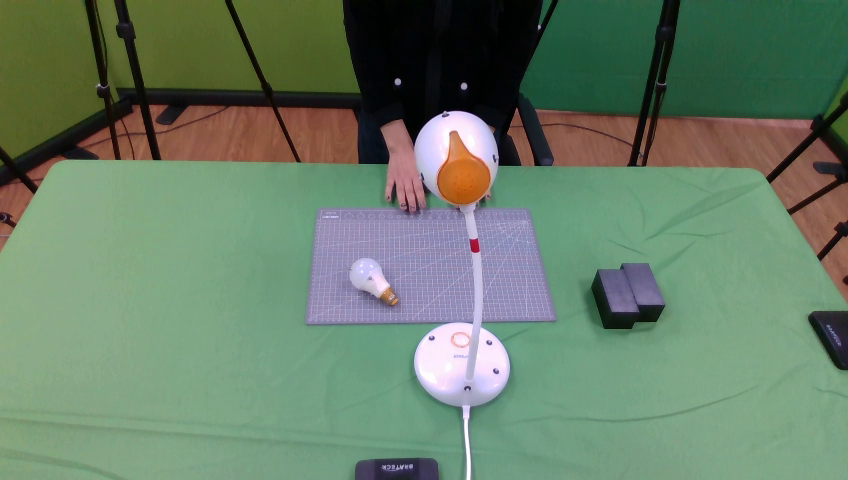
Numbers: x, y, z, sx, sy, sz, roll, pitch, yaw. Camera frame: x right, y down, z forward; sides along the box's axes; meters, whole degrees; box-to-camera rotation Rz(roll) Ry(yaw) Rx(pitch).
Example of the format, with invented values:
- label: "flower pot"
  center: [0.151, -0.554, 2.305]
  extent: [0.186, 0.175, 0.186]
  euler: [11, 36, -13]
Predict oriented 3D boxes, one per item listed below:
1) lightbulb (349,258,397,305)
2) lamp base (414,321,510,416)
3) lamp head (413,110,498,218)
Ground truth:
- label: "lightbulb"
  center: [-0.090, 0.078, 1.095]
  extent: [0.107, 0.060, 0.059]
  euler: [43, 56, 12]
- label: "lamp base"
  center: [0.069, 0.159, 0.942]
  extent: [0.161, 0.181, 0.178]
  euler: [-4, 49, -8]
- label: "lamp head"
  center: [0.044, -0.090, 0.758]
  extent: [0.112, 0.113, 0.122]
  euler: [-1, 32, -4]
